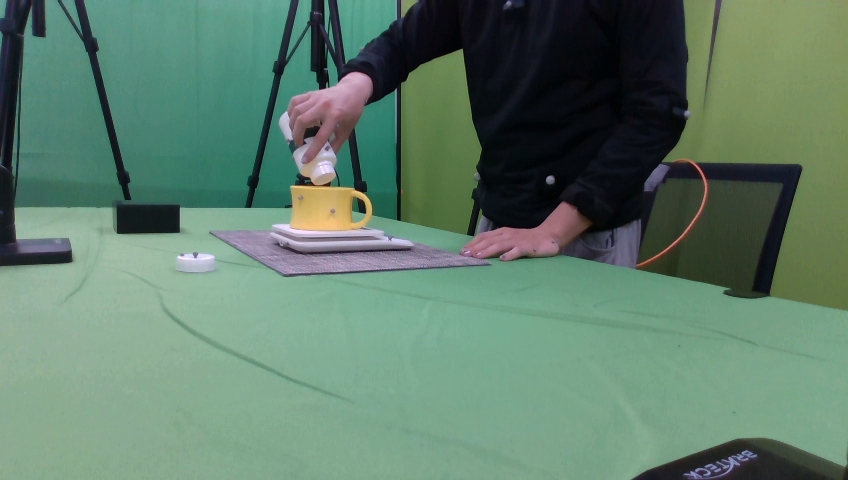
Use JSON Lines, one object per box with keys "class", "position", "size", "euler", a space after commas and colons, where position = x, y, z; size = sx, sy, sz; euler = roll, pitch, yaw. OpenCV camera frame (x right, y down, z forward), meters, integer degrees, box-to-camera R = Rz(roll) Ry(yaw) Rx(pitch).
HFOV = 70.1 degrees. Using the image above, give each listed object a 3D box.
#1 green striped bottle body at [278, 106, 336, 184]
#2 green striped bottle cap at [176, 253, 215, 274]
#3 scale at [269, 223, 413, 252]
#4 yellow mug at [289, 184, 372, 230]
{"class": "green striped bottle body", "position": [-0.184, -0.150, 0.972], "size": [0.063, 0.119, 0.063], "euler": [-24, -15, -7]}
{"class": "green striped bottle cap", "position": [-0.279, 0.028, 0.741], "size": [0.044, 0.020, 0.044], "euler": [4, 6, 0]}
{"class": "scale", "position": [-0.132, -0.007, 0.965], "size": [0.202, 0.031, 0.148], "euler": [-2, 8, -31]}
{"class": "yellow mug", "position": [-0.145, -0.052, 0.944], "size": [0.131, 0.064, 0.100], "euler": [4, 7, 9]}
